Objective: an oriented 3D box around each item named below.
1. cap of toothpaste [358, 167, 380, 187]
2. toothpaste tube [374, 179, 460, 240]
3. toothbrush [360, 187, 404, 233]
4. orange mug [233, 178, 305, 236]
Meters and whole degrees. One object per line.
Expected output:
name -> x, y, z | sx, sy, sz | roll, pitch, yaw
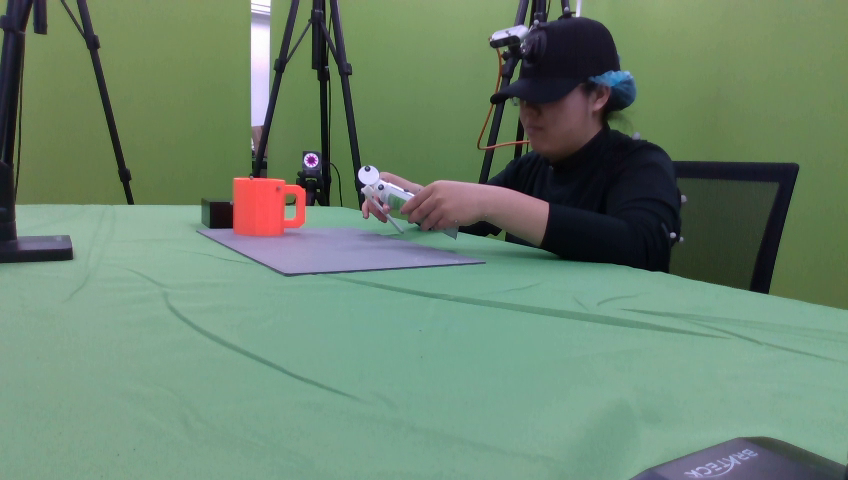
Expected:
cap of toothpaste -> -0.091, -0.104, 1.003 | 0.037, 0.037, 0.011 | 2, -9, -2
toothpaste tube -> -0.014, -0.056, 0.997 | 0.164, 0.055, 0.034 | 29, 58, 16
toothbrush -> -0.071, -0.053, 1.085 | 0.014, 0.016, 0.182 | 37, -7, 29
orange mug -> -0.273, -0.061, 1.067 | 0.127, 0.101, 0.083 | -5, 10, -24
